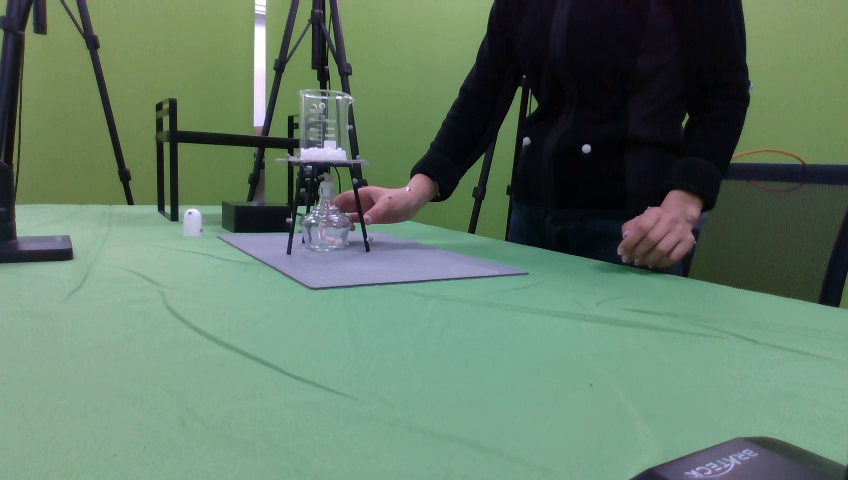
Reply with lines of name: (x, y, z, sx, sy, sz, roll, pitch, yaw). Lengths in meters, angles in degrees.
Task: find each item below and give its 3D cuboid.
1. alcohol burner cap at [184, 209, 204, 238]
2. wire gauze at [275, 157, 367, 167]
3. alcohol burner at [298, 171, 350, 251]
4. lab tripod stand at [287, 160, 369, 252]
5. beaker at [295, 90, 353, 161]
alcohol burner cap: (-0.390, -0.029, 1.025, 0.034, 0.048, 0.034, 2, 8, 0)
wire gauze: (-0.148, -0.117, 0.895, 0.121, 0.011, 0.125, 3, 5, -3)
alcohol burner: (-0.149, -0.044, 0.911, 0.078, 0.119, 0.078, 2, 6, 0)
lab tripod stand: (-0.157, -0.053, 0.901, 0.148, 0.131, 0.148, 0, 7, 0)
beaker: (-0.146, -0.164, 0.884, 0.084, 0.100, 0.074, 1, 7, -6)
